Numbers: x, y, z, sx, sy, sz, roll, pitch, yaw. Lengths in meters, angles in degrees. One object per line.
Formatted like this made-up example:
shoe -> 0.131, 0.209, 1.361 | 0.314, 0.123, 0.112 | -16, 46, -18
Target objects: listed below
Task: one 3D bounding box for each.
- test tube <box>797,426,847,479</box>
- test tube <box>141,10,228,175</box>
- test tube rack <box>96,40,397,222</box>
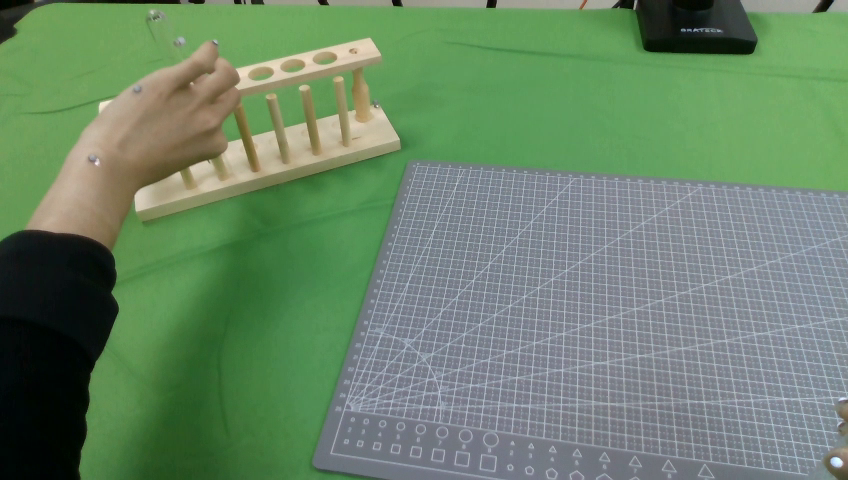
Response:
test tube -> 0.171, 0.085, 0.241 | 0.017, 0.152, 0.017 | -4, 47, 4
test tube -> -0.191, -0.113, 0.490 | 0.017, 0.152, 0.017 | -4, 47, 4
test tube rack -> -0.152, -0.101, 0.550 | 0.243, 0.086, 0.066 | -18, 49, -12
